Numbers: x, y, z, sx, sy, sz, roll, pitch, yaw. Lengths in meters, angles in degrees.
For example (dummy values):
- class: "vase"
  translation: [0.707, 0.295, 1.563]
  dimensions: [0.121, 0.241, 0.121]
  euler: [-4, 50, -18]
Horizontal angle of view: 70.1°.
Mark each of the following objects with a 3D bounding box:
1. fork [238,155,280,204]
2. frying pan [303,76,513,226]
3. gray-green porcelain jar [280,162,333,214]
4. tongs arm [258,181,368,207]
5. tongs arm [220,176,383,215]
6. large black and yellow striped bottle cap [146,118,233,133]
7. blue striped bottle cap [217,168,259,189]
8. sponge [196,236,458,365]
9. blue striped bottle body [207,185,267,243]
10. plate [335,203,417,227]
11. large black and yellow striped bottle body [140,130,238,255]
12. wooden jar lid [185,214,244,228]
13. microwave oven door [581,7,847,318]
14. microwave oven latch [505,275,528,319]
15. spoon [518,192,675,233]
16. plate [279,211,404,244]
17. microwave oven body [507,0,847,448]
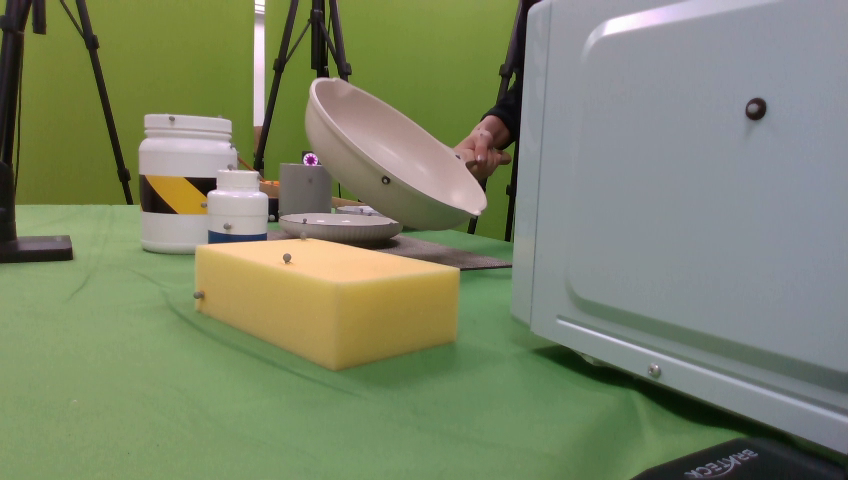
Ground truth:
- class: "fork"
  translation: [-0.396, -0.143, 1.486]
  dimensions: [0.028, 0.018, 0.208]
  euler: [19, -26, 45]
- class: "frying pan"
  translation: [0.017, -0.132, 0.938]
  dimensions: [0.305, 0.102, 0.490]
  euler: [47, 32, 22]
- class: "gray-green porcelain jar"
  translation: [-0.238, -0.092, 1.221]
  dimensions: [0.106, 0.126, 0.106]
  euler: [2, 7, 0]
- class: "tongs arm"
  translation: [-0.241, -0.095, 1.373]
  dimensions: [0.387, 0.026, 0.050]
  euler: [9, 0, -37]
- class: "tongs arm"
  translation: [-0.285, -0.103, 1.445]
  dimensions: [0.389, 0.027, 0.028]
  euler: [9, -4, -23]
- class: "large black and yellow striped bottle cap"
  translation: [-0.333, -0.163, 0.861]
  dimensions: [0.115, 0.019, 0.115]
  euler: [1, 9, 0]
- class: "blue striped bottle cap"
  translation: [-0.202, -0.067, 0.656]
  dimensions: [0.044, 0.020, 0.044]
  euler: [0, 10, 0]
- class: "sponge"
  translation: [-0.087, 0.039, 0.500]
  dimensions: [0.206, 0.061, 0.119]
  euler: [8, 10, 44]
- class: "blue striped bottle body"
  translation: [-0.204, -0.016, 0.663]
  dimensions: [0.063, 0.120, 0.063]
  euler: [2, 7, 0]
- class: "plate"
  translation: [-0.089, -0.053, 1.309]
  dimensions: [0.208, 0.039, 0.207]
  euler: [2, 8, 0]
- class: "large black and yellow striped bottle body"
  translation: [-0.336, -0.078, 0.871]
  dimensions: [0.131, 0.184, 0.130]
  euler: [2, 8, 0]
- class: "wooden jar lid"
  translation: [-0.404, -0.037, 1.169]
  dimensions: [0.108, 0.020, 0.108]
  euler: [3, 7, 0]
- class: "microwave oven door"
  translation: [0.295, -0.067, 0.569]
  dimensions: [0.358, 0.243, 0.039]
  euler: [-3, 8, -31]
- class: "microwave oven latch"
  translation: [0.100, 0.042, 0.472]
  dimensions: [0.079, 0.029, 0.030]
  euler: [-2, 8, -30]
- class: "spoon"
  translation: [0.215, -0.028, 0.756]
  dimensions: [0.193, 0.041, 0.022]
  euler: [10, -6, 10]
- class: "plate"
  translation: [-0.139, -0.022, 1.021]
  dimensions: [0.209, 0.038, 0.209]
  euler: [2, 8, 0]
- class: "microwave oven body"
  translation: [0.331, -0.042, 0.425]
  dimensions: [0.444, 0.260, 0.324]
  euler: [-2, 8, -31]
